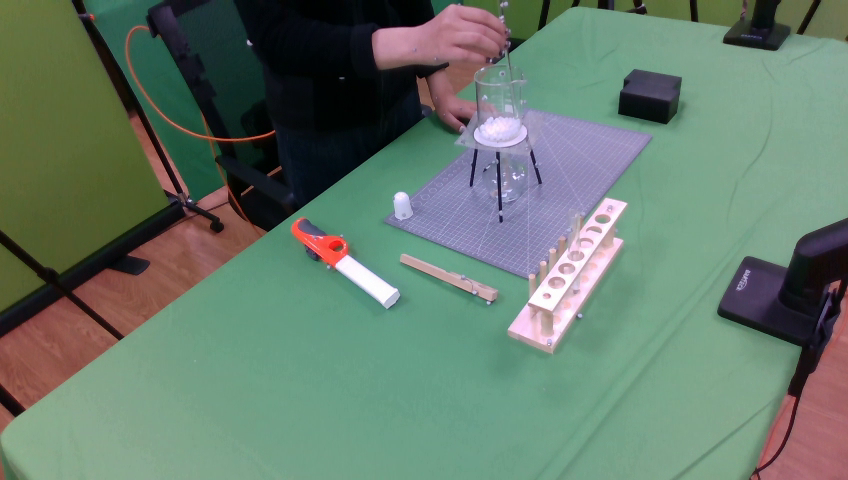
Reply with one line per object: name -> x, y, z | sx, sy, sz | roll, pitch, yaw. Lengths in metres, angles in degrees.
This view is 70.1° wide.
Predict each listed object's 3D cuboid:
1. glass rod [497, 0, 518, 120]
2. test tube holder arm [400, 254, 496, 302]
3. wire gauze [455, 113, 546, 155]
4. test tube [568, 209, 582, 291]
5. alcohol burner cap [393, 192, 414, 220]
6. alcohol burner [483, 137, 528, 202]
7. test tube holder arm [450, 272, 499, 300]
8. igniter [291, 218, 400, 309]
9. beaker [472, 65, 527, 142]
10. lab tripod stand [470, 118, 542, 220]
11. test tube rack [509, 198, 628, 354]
glass rod -> 0.123, -0.268, 0.884 | 0.008, 0.200, 0.008 | -10, 34, 7
test tube holder arm -> 0.033, 0.054, 0.915 | 0.177, 0.015, 0.013 | 21, 17, 33
wire gauze -> 0.124, -0.175, 0.973 | 0.124, 0.011, 0.121 | 8, 39, 21
test tube -> 0.200, 0.017, 0.799 | 0.017, 0.151, 0.017 | -8, 45, 8
alcohol burner cap -> -0.038, -0.061, 1.043 | 0.034, 0.048, 0.033 | -5, 40, 5
alcohol burner -> 0.138, -0.125, 1.030 | 0.078, 0.119, 0.077 | -4, 41, 4
test tube holder arm -> 0.071, 0.068, 0.895 | 0.087, 0.015, 0.010 | 21, 17, 33
igniter -> -0.136, 0.031, 0.970 | 0.057, 0.025, 0.274 | -41, 49, -19
beaker -> 0.120, -0.211, 0.942 | 0.083, 0.101, 0.074 | 10, 42, 21
lab tripod stand -> 0.135, -0.128, 1.019 | 0.148, 0.132, 0.147 | -5, 38, 5
test tube rack -> 0.206, 0.039, 0.850 | 0.066, 0.085, 0.243 | 20, 48, 31
